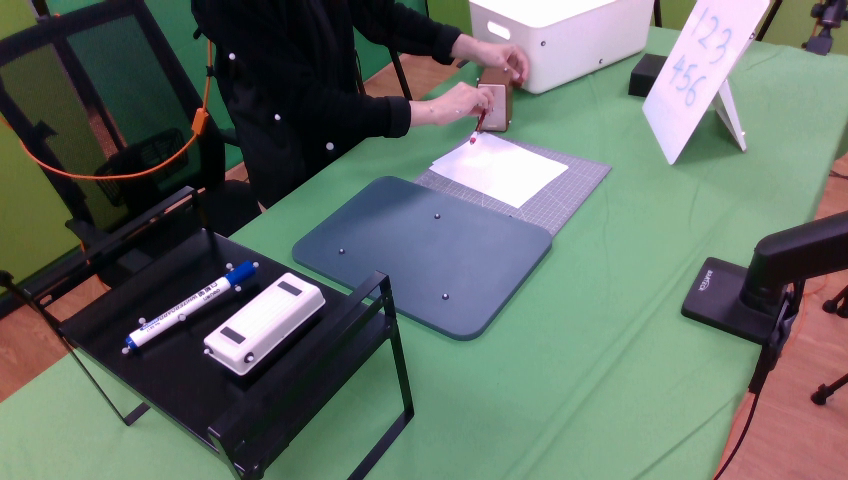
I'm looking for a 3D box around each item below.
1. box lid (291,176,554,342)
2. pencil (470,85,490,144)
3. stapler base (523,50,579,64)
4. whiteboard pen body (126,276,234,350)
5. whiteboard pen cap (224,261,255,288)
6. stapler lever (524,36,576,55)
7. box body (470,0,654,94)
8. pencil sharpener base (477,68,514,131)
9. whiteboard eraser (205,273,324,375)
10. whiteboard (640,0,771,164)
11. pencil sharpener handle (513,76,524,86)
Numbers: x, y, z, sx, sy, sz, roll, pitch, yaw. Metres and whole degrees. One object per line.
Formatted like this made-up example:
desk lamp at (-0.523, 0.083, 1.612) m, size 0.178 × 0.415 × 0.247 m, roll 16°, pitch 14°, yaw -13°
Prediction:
box lid at (-0.005, 0.011, 0.972) m, size 0.368 × 0.015 × 0.264 m, roll 21°, pitch 49°, yaw 30°
pencil at (0.108, -0.242, 1.121) m, size 0.012 × 0.012 × 0.193 m, roll 5°, pitch 48°, yaw 14°
stapler base at (0.301, -0.436, 1.434) m, size 0.130 × 0.024 × 0.041 m, roll 5°, pitch 40°, yaw 16°
whiteboard pen body at (-0.251, 0.070, 0.649) m, size 0.141 × 0.017 × 0.017 m, roll -36°, pitch 48°, yaw -26°
whiteboard pen cap at (-0.207, 0.039, 0.677) m, size 0.033 × 0.018 × 0.018 m, roll -36°, pitch 47°, yaw -18°
stapler lever at (0.296, -0.456, 1.418) m, size 0.117 × 0.040 × 0.027 m, roll 4°, pitch 40°, yaw 17°
box body at (0.319, -0.498, 1.405) m, size 0.365 × 0.161 × 0.252 m, roll -26°, pitch 43°, yaw -21°
pencil sharpener base at (0.146, -0.285, 1.223) m, size 0.061 × 0.107 × 0.076 m, roll 5°, pitch 42°, yaw 16°
whiteboard eraser at (-0.157, 0.084, 0.605) m, size 0.055 × 0.042 × 0.113 m, roll 24°, pitch 49°, yaw 30°
whiteboard at (0.543, -0.299, 1.076) m, size 0.144 × 0.305 × 0.216 m, roll 12°, pitch 40°, yaw -7°
pencil sharpener handle at (0.171, -0.334, 1.241) m, size 0.068 × 0.036 × 0.030 m, roll 19°, pitch 44°, yaw 3°
